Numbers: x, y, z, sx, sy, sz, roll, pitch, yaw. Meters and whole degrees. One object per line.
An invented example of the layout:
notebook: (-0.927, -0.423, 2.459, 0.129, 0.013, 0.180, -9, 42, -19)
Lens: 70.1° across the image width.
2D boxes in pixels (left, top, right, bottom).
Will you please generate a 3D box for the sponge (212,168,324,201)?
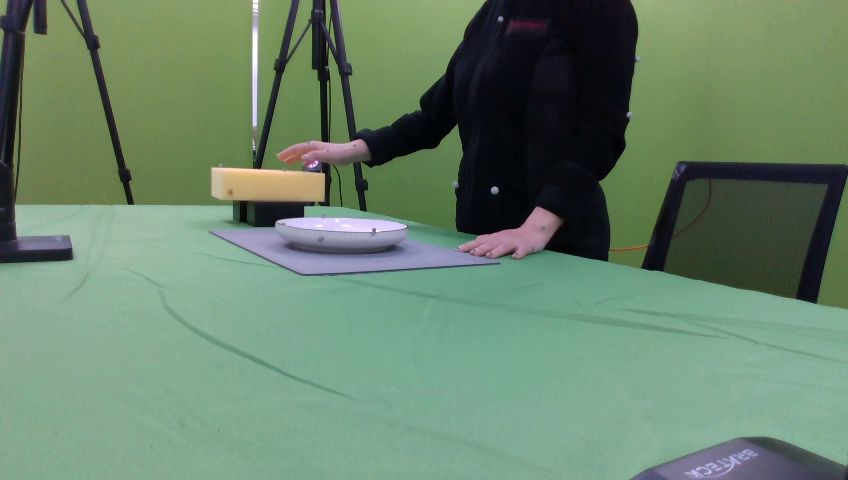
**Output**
sponge: (-0.325, -0.115, 1.259, 0.208, 0.061, 0.117, -2, 8, -30)

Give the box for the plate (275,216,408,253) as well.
plate: (-0.129, -0.009, 0.954, 0.209, 0.038, 0.209, 2, 7, 0)
